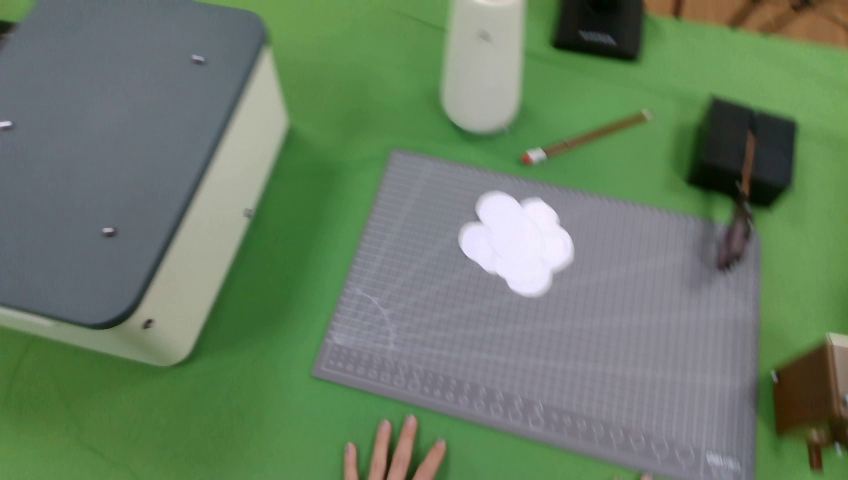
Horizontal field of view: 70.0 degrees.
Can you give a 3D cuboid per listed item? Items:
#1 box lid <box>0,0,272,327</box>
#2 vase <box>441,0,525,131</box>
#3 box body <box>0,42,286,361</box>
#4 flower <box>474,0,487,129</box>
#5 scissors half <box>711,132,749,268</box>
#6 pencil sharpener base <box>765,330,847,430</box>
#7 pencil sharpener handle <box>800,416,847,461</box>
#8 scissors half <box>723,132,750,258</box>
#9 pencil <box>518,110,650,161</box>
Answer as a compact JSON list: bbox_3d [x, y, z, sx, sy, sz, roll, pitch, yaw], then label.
[{"bbox_3d":[-0.325,-0.111,0.582,0.263,0.015,0.369,13,64,5],"label":"box lid"},{"bbox_3d":[0.069,-0.219,0.704,0.098,0.201,0.097,0,62,1],"label":"vase"},{"bbox_3d":[-0.325,-0.075,0.647,0.254,0.161,0.361,12,64,6],"label":"box body"},{"bbox_3d":[0.065,-0.270,0.637,0.044,0.365,0.038,7,46,7],"label":"flower"},{"bbox_3d":[0.353,-0.048,0.693,0.013,0.040,0.174,19,77,5],"label":"scissors half"},{"bbox_3d":[0.381,0.141,0.576,0.061,0.108,0.076,10,64,4],"label":"pencil sharpener base"},{"bbox_3d":[0.368,0.179,0.543,0.036,0.068,0.030,16,63,-8],"label":"pencil sharpener handle"},{"bbox_3d":[0.353,-0.057,0.675,0.013,0.040,0.174,16,59,10],"label":"scissors half"},{"bbox_3d":[0.207,-0.135,0.770,0.194,0.012,0.012,-21,65,-13],"label":"pencil"}]
